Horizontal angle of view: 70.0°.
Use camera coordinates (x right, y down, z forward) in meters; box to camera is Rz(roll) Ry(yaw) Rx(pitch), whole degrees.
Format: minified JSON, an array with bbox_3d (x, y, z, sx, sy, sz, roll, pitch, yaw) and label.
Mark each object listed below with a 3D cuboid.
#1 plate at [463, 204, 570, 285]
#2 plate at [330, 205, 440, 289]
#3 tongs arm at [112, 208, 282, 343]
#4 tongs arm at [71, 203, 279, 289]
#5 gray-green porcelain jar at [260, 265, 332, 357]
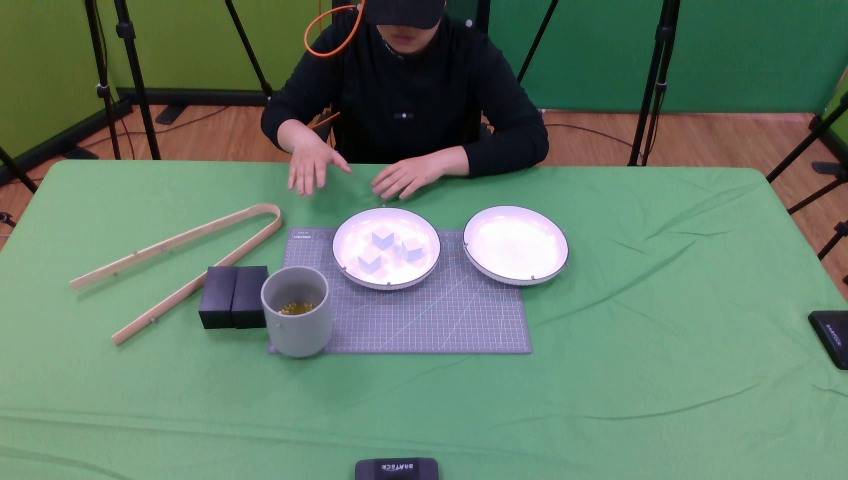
[{"bbox_3d":[0.178,0.011,1.184,0.209,0.038,0.208,3,46,-3],"label":"plate"},{"bbox_3d":[-0.074,0.017,1.160,0.208,0.039,0.206,2,46,-2],"label":"plate"},{"bbox_3d":[-0.397,0.057,1.109,0.028,0.028,0.387,28,50,25],"label":"tongs arm"},{"bbox_3d":[-0.455,0.011,1.145,0.385,0.026,0.050,-29,55,-29],"label":"tongs arm"},{"bbox_3d":[-0.205,0.121,0.989,0.106,0.127,0.105,2,46,-2],"label":"gray-green porcelain jar"}]
